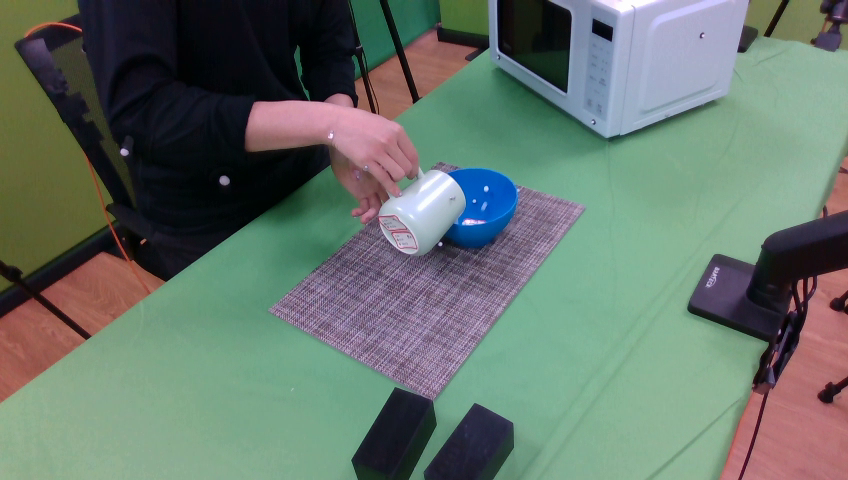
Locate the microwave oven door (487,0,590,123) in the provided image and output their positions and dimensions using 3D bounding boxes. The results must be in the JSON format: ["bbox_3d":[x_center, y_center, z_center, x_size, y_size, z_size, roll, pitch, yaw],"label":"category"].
[{"bbox_3d":[0.232,-0.420,1.231,0.039,0.245,0.352,-22,43,-16],"label":"microwave oven door"}]

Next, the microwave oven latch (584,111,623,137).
[{"bbox_3d":[0.337,-0.222,1.142,0.030,0.029,0.078,-21,42,-14],"label":"microwave oven latch"}]

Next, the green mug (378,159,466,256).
[{"bbox_3d":[-0.011,-0.052,0.843,0.105,0.126,0.092,-44,24,-29],"label":"green mug"}]

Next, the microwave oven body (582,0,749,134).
[{"bbox_3d":[0.382,-0.445,1.246,0.327,0.261,0.437,-22,42,-16],"label":"microwave oven body"}]

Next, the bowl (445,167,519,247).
[{"bbox_3d":[0.075,-0.042,0.958,0.151,0.077,0.150,-4,41,4],"label":"bowl"}]
